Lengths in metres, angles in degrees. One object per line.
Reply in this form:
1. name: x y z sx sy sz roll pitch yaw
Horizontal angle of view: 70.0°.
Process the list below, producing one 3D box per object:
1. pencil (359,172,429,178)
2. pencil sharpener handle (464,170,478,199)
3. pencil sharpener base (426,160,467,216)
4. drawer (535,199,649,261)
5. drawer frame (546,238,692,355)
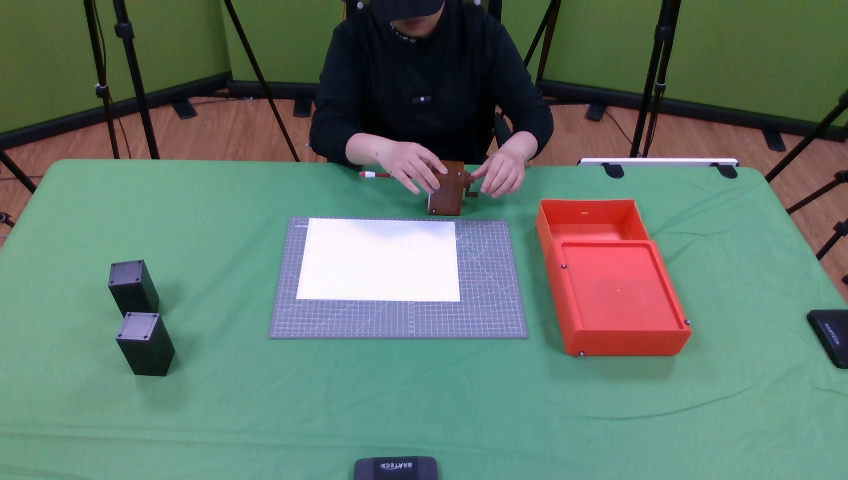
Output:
1. pencil: -0.033 -0.130 1.225 0.194 0.012 0.012 1 46 -2
2. pencil sharpener handle: 0.098 -0.111 1.238 0.030 0.068 0.036 3 45 -2
3. pencil sharpener base: 0.046 -0.105 1.245 0.077 0.107 0.061 3 45 -2
4. drawer: 0.332 0.015 1.170 0.195 0.073 0.210 0 46 -5
5. drawer frame: 0.338 0.097 1.086 0.202 0.083 0.212 0 46 -4
